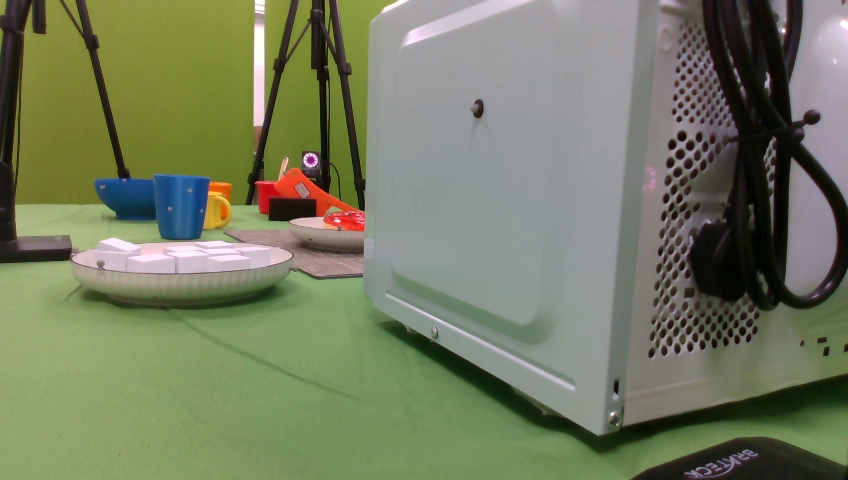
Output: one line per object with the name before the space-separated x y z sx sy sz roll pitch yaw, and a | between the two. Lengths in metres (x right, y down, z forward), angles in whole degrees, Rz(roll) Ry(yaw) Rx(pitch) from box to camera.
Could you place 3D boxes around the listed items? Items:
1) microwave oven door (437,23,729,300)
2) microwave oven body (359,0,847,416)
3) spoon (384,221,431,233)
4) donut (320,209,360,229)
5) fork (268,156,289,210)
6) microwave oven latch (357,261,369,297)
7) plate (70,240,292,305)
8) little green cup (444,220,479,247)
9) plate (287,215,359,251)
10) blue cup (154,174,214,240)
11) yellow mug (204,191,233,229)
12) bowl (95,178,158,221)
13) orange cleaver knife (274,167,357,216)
microwave oven door | 0.181 -0.072 0.621 0.358 0.243 0.039 -2 9 -29
microwave oven body | 0.211 -0.047 0.474 0.444 0.260 0.324 -1 7 -28
spoon | -0.024 -0.029 1.188 0.041 0.021 0.194 -12 0 23
donut | -0.115 -0.023 0.961 0.099 0.048 0.099 5 9 0
fork | -0.360 -0.144 1.508 0.028 0.018 0.207 1 49 0
microwave oven latch | -0.019 0.033 0.531 0.079 0.029 0.030 -1 7 -27
plate | -0.242 0.031 0.618 0.208 0.039 0.207 2 8 0
little green cup | 0.064 -0.011 1.035 0.061 0.038 0.061 0 11 0
plate | -0.112 -0.012 0.960 0.209 0.038 0.209 3 8 0
blue cup | -0.390 -0.053 0.978 0.093 0.100 0.092 3 6 0
yellow mug | -0.415 -0.057 1.132 0.130 0.064 0.100 6 8 16
bowl | -0.576 -0.081 1.217 0.151 0.077 0.151 3 8 0
orange cleaver knife | -0.238 -0.091 1.381 0.212 0.077 0.012 31 0 -19
